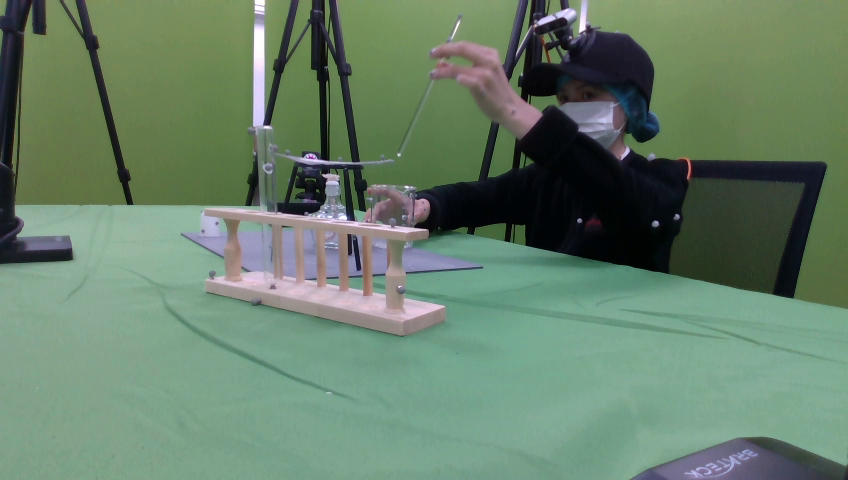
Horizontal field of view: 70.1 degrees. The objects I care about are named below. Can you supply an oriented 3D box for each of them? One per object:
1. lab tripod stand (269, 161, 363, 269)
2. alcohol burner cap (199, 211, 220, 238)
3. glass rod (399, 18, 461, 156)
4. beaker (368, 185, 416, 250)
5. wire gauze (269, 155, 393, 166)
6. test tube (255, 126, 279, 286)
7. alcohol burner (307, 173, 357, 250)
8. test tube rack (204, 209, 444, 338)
[{"bbox_3d":[-0.125,-0.036,0.794,0.148,0.131,0.148,5,7,0],"label":"lab tripod stand"},{"bbox_3d":[-0.356,-0.027,1.002,0.034,0.048,0.034,2,7,0],"label":"alcohol burner cap"},{"bbox_3d":[0.007,-0.204,0.822,0.008,0.199,0.008,23,16,-7],"label":"glass rod"},{"bbox_3d":[-0.050,-0.036,0.957,0.074,0.100,0.083,-1,9,-23],"label":"beaker"},{"bbox_3d":[-0.122,-0.102,0.785,0.122,0.011,0.124,-3,10,-39],"label":"wire gauze"},{"bbox_3d":[-0.147,-0.031,0.566,0.017,0.150,0.017,-1,8,0],"label":"test tube"},{"bbox_3d":[-0.144,-0.045,0.940,0.078,0.119,0.078,1,8,0],"label":"alcohol burner"},{"bbox_3d":[-0.100,0.021,0.565,0.241,0.085,0.067,7,9,32],"label":"test tube rack"}]
